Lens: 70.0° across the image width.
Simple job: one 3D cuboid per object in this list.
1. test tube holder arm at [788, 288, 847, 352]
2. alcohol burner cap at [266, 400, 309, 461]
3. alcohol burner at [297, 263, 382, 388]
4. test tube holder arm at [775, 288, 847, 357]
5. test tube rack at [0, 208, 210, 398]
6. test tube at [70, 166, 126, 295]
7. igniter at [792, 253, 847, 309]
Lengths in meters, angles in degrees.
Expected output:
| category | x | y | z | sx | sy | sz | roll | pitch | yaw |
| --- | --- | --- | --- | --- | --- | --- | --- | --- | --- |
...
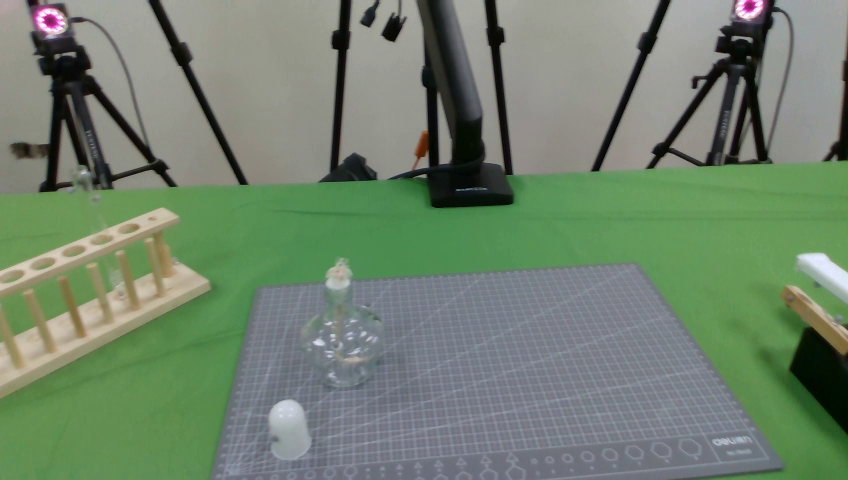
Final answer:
| category | x | y | z | sx | sy | sz | roll | pitch | yaw |
| --- | --- | --- | --- | --- | --- | --- | --- | --- | --- |
| test tube holder arm | 0.366 | 0.095 | 0.511 | 0.013 | 0.015 | 0.176 | -3 | 31 | -11 |
| alcohol burner cap | -0.112 | 0.150 | 0.487 | 0.034 | 0.048 | 0.033 | 0 | 31 | 0 |
| alcohol burner | -0.077 | 0.073 | 0.545 | 0.078 | 0.120 | 0.077 | 0 | 29 | 0 |
| test tube holder arm | 0.352 | 0.073 | 0.548 | 0.010 | 0.015 | 0.087 | -3 | 30 | -10 |
| test tube rack | -0.346 | 0.058 | 0.604 | 0.066 | 0.086 | 0.242 | 24 | 38 | 34 |
| test tube | -0.328 | -0.006 | 0.614 | 0.017 | 0.151 | 0.017 | 0 | 34 | 0 |
| igniter | 0.419 | 0.084 | 0.523 | 0.057 | 0.025 | 0.274 | -4 | 28 | -5 |
